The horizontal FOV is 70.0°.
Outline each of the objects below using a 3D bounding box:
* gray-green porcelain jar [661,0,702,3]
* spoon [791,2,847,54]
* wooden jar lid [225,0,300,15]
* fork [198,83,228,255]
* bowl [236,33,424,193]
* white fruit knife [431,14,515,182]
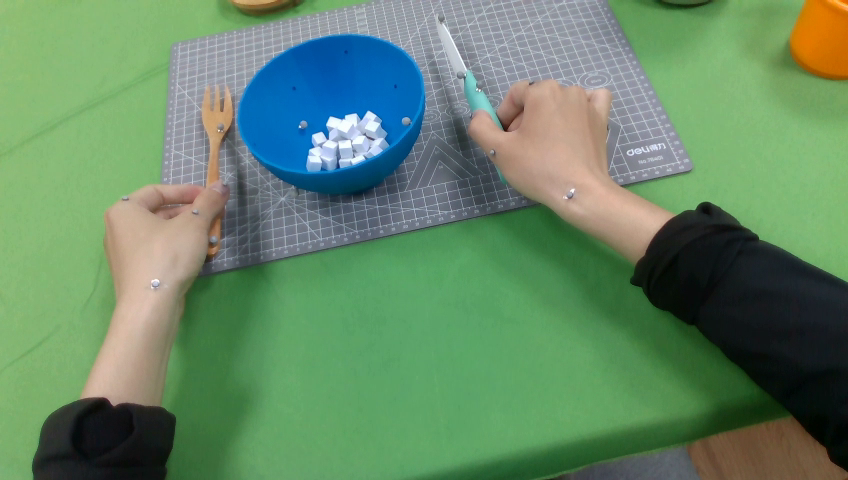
[{"bbox_3d":[0.251,-0.298,0.563,0.106,0.128,0.105,-4,58,6],"label":"gray-green porcelain jar"},{"bbox_3d":[0.393,-0.211,0.478,0.022,0.193,0.041,17,55,-35],"label":"spoon"},{"bbox_3d":[-0.175,-0.291,0.679,0.108,0.021,0.107,-2,59,4],"label":"wooden jar lid"},{"bbox_3d":[-0.186,-0.070,0.532,0.028,0.019,0.205,15,42,-32],"label":"fork"},{"bbox_3d":[-0.070,-0.092,0.506,0.151,0.077,0.150,-4,59,6],"label":"bowl"},{"bbox_3d":[0.037,-0.135,0.530,0.016,0.027,0.205,-9,56,-17],"label":"white fruit knife"}]
